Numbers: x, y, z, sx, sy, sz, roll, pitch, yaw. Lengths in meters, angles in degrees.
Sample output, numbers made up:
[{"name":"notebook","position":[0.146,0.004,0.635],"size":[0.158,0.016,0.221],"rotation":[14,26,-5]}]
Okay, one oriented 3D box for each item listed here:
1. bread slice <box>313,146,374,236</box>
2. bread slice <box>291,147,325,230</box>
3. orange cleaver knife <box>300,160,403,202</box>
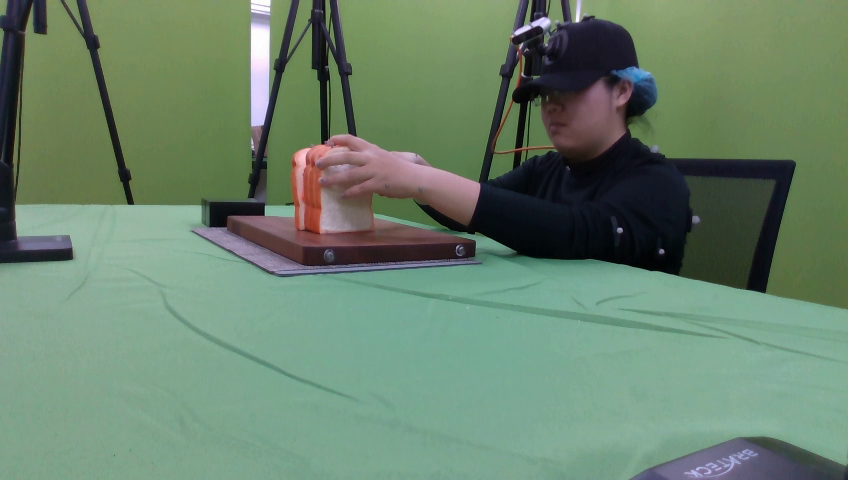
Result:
[{"name":"bread slice","position":[-0.124,-0.074,0.918],"size":[0.018,0.134,0.107],"rotation":[6,10,45]},{"name":"bread slice","position":[-0.165,-0.081,0.957],"size":[0.019,0.131,0.105],"rotation":[-11,-5,41]},{"name":"orange cleaver knife","position":[-0.114,-0.087,0.991],"size":[0.012,0.077,0.212],"rotation":[6,6,43]}]
